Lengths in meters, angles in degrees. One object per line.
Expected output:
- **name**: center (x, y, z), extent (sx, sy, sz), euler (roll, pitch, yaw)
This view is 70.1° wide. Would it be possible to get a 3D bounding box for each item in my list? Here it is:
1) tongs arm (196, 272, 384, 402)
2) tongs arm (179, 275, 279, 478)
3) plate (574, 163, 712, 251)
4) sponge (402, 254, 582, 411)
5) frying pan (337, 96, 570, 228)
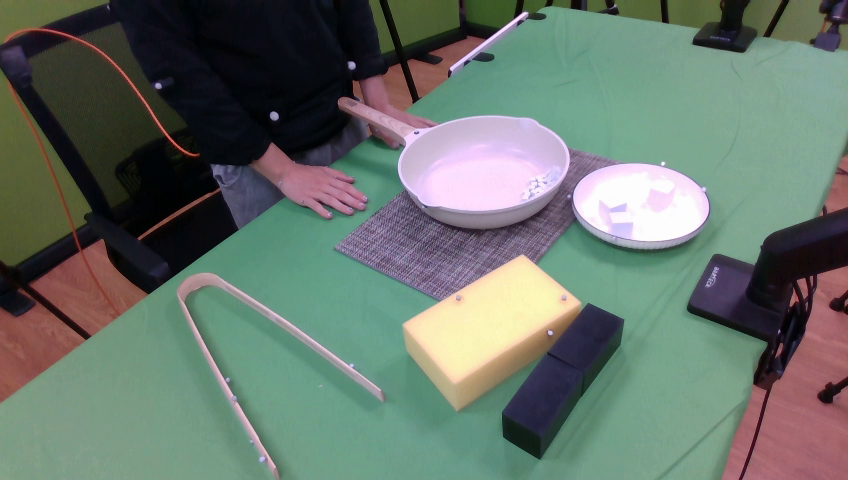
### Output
- **tongs arm**: center (-0.198, 0.125, 0.847), extent (0.384, 0.028, 0.028), euler (25, 53, 33)
- **tongs arm**: center (-0.260, 0.161, 0.807), extent (0.051, 0.026, 0.381), euler (-29, 44, -24)
- **plate**: center (0.344, -0.050, 0.966), extent (0.207, 0.039, 0.206), euler (-4, 40, 4)
- **sponge**: center (0.089, 0.114, 0.791), extent (0.208, 0.061, 0.117), euler (-28, 48, -23)
- **frying pan**: center (0.023, -0.167, 1.090), extent (0.484, 0.103, 0.308), euler (32, 52, 26)
